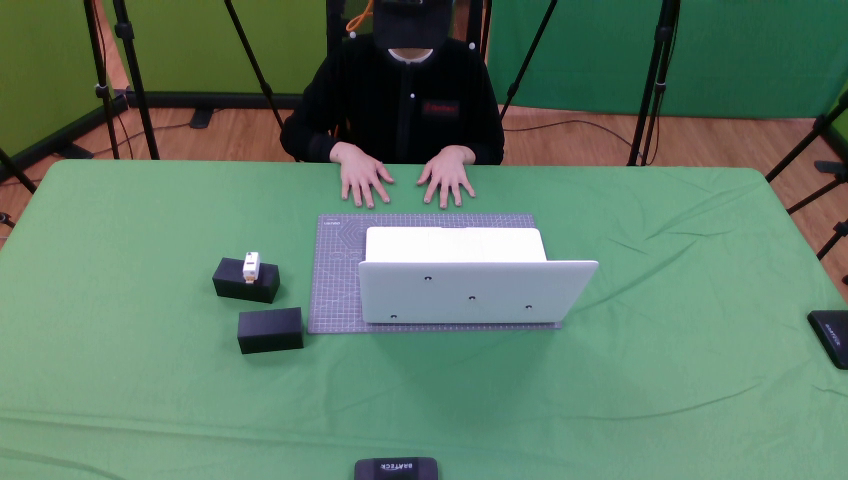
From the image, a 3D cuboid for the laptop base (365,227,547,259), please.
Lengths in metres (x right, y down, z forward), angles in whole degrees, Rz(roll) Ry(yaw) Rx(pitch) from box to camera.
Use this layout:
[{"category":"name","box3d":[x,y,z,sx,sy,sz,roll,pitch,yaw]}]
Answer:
[{"category":"laptop base","box3d":[0.064,0.062,1.144,0.355,0.023,0.234,0,43,-4]}]

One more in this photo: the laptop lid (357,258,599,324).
[{"category":"laptop lid","box3d":[0.075,0.087,0.960,0.357,0.242,0.013,1,60,-5]}]

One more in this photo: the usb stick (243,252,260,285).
[{"category":"usb stick","box3d":[-0.301,0.051,1.054,0.021,0.027,0.059,1,48,-6]}]
